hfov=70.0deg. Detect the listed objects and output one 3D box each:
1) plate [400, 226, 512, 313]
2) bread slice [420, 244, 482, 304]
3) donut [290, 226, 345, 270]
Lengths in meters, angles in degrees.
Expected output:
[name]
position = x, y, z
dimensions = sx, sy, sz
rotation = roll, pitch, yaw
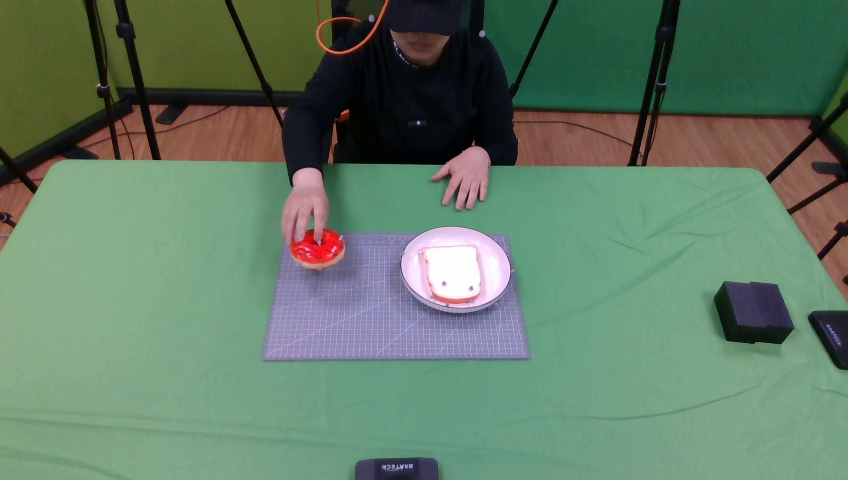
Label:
[plate]
position = 0.057, 0.057, 1.134
dimensions = 0.209, 0.038, 0.208
rotation = 2, 46, -2
[bread slice]
position = 0.056, 0.062, 1.131
dimensions = 0.107, 0.018, 0.133
rotation = -6, 46, -8
[donut]
position = -0.191, 0.013, 1.090
dimensions = 0.099, 0.048, 0.098
rotation = 2, 39, -2
